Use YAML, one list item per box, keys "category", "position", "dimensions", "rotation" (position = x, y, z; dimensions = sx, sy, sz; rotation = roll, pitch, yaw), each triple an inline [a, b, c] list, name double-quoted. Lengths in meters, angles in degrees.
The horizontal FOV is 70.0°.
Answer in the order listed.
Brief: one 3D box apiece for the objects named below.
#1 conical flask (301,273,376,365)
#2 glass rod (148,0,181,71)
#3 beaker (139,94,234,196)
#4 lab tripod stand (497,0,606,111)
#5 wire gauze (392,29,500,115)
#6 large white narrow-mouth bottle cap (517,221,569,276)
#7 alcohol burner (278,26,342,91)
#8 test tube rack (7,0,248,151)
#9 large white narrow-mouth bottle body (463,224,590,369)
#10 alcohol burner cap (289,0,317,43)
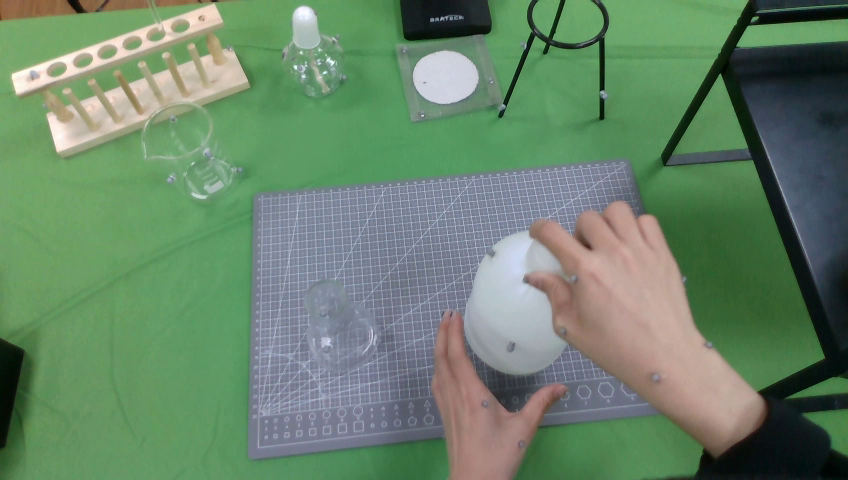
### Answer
- category: "conical flask"
  position: [-0.088, 0.071, 0.583]
  dimensions: [0.075, 0.123, 0.074]
  rotation: [0, 65, 1]
- category: "glass rod"
  position: [-0.307, -0.264, 0.690]
  dimensions: [0.008, 0.201, 0.008]
  rotation: [2, 63, -4]
- category: "beaker"
  position: [-0.263, -0.100, 0.679]
  dimensions: [0.073, 0.101, 0.084]
  rotation: [38, 71, 17]
- category: "lab tripod stand"
  position: [0.158, -0.224, 0.717]
  dimensions: [0.148, 0.132, 0.147]
  rotation: [1, 64, -1]
- category: "wire gauze"
  position: [0.028, -0.223, 0.785]
  dimensions: [0.121, 0.011, 0.124]
  rotation: [-10, 65, -5]
- category: "large white narrow-mouth bottle cap"
  position: [0.088, 0.006, 0.446]
  dimensions: [0.038, 0.024, 0.037]
  rotation: [0, 66, 0]
- category: "alcohol burner"
  position: [-0.141, -0.240, 0.736]
  dimensions: [0.078, 0.120, 0.077]
  rotation: [0, 63, 0]
- category: "test tube rack"
  position: [-0.350, -0.200, 0.734]
  dimensions: [0.242, 0.086, 0.066]
  rotation: [-24, 67, -11]
- category: "large white narrow-mouth bottle body"
  position: [0.089, 0.044, 0.526]
  dimensions: [0.102, 0.196, 0.101]
  rotation: [0, 65, 0]
- category: "alcohol burner cap"
  position: [-0.141, -0.257, 0.704]
  dimensions: [0.034, 0.048, 0.033]
  rotation: [4, 63, -7]
